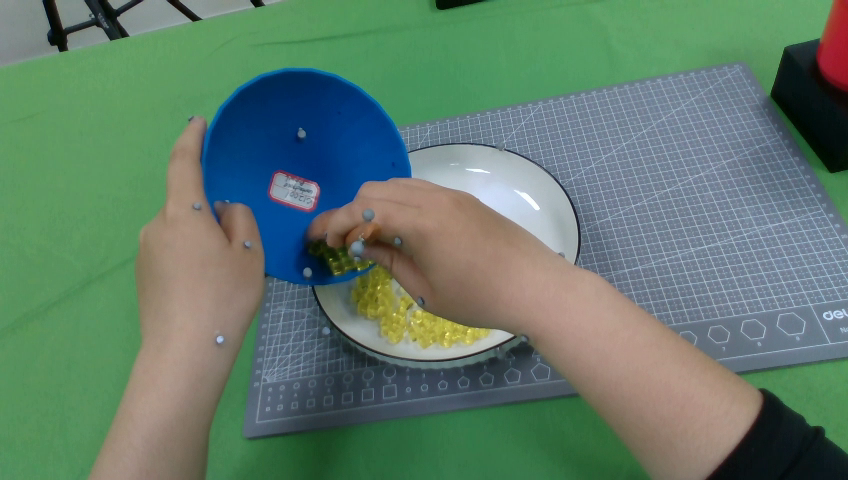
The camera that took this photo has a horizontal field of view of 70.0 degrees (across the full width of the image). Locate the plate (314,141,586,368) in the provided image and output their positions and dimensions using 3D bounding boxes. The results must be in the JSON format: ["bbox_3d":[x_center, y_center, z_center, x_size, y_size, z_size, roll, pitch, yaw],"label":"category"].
[{"bbox_3d":[0.018,0.008,0.471,0.207,0.039,0.205,-7,52,9],"label":"plate"}]

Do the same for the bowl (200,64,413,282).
[{"bbox_3d":[-0.092,-0.042,0.444,0.151,0.152,0.076,-51,21,-24],"label":"bowl"}]

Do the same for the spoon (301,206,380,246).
[{"bbox_3d":[-0.049,-0.006,0.367,0.041,0.022,0.192,-36,14,-13],"label":"spoon"}]
